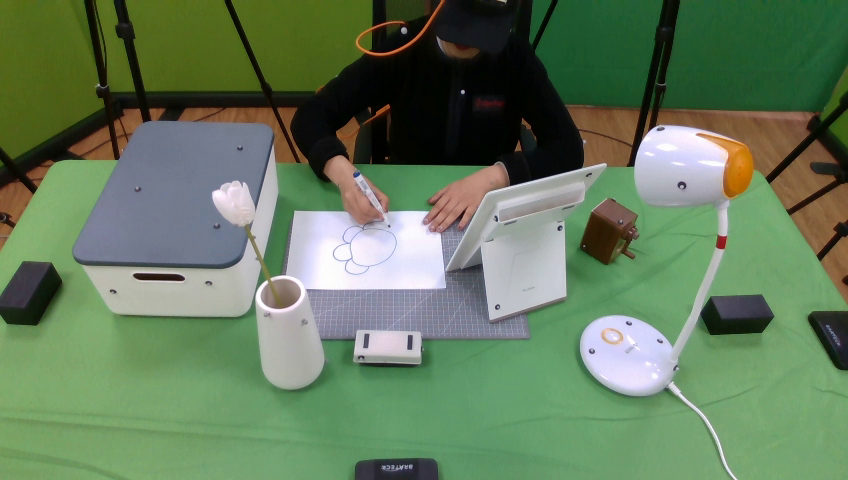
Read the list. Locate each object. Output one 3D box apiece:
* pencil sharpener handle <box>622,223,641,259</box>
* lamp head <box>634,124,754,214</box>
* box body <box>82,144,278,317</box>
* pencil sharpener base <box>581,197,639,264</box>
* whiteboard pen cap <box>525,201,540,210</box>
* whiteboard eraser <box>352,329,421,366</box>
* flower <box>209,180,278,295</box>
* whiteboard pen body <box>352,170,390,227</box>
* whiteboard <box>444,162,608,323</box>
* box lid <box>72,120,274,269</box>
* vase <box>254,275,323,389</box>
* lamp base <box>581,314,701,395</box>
[{"bbox_3d":[0.397,0.002,1.146,0.030,0.068,0.036,37,46,27],"label":"pencil sharpener handle"},{"bbox_3d":[0.351,-0.089,0.776,0.112,0.113,0.122,-30,30,-28],"label":"lamp head"},{"bbox_3d":[-0.421,-0.041,1.108,0.254,0.161,0.361,2,46,-3],"label":"box body"},{"bbox_3d":[0.362,-0.017,1.179,0.076,0.107,0.061,37,54,27],"label":"pencil sharpener base"},{"bbox_3d":[0.230,-0.074,1.289,0.033,0.018,0.018,5,46,3],"label":"whiteboard pen cap"},{"bbox_3d":[-0.061,0.180,1.005,0.113,0.042,0.055,3,48,-3],"label":"whiteboard eraser"},{"bbox_3d":[-0.216,0.075,0.871,0.044,0.363,0.038,-29,36,-19],"label":"flower"},{"bbox_3d":[-0.101,-0.078,1.191,0.017,0.141,0.017,-22,33,15],"label":"whiteboard pen body"},{"bbox_3d":[0.186,0.025,1.029,0.217,0.306,0.143,-14,68,-17],"label":"whiteboard"},{"bbox_3d":[-0.417,-0.094,1.056,0.263,0.015,0.369,1,47,-3],"label":"box lid"},{"bbox_3d":[-0.209,0.143,0.921,0.098,0.201,0.097,1,46,-1],"label":"vase"},{"bbox_3d":[0.361,0.144,0.973,0.178,0.181,0.160,34,53,23],"label":"lamp base"}]
